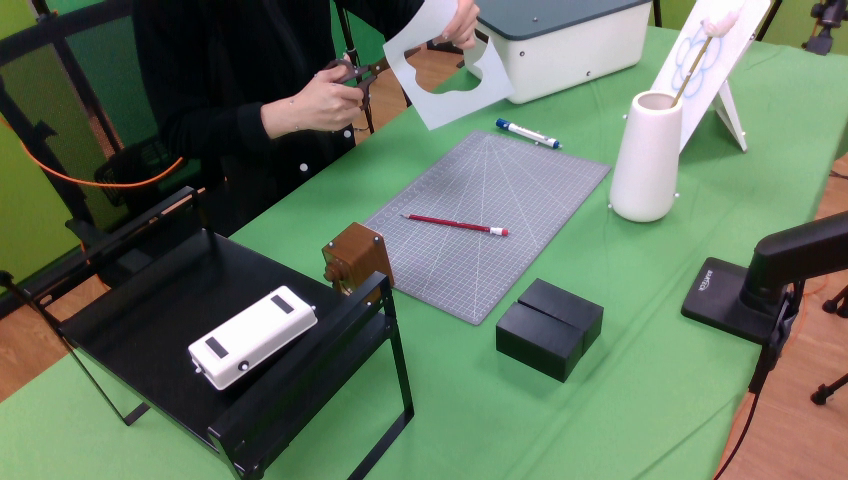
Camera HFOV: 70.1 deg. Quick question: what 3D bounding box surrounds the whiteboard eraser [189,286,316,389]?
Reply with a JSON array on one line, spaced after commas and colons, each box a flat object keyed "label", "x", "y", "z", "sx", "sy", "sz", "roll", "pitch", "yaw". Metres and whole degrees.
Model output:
[{"label": "whiteboard eraser", "x": -0.166, "y": 0.096, "z": 0.593, "sx": 0.113, "sy": 0.042, "sz": 0.055, "roll": -36, "pitch": 47, "yaw": -29}]

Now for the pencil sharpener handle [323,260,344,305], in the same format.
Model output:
[{"label": "pencil sharpener handle", "x": -0.131, "y": 0.062, "z": 0.839, "sx": 0.035, "sy": 0.068, "sz": 0.031, "roll": 29, "pitch": 55, "yaw": 28}]

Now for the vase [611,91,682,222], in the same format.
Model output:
[{"label": "vase", "x": 0.348, "y": -0.125, "z": 0.935, "sx": 0.098, "sy": 0.201, "sz": 0.097, "roll": -3, "pitch": 40, "yaw": 3}]

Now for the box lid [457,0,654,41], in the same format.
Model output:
[{"label": "box lid", "x": 0.285, "y": -0.522, "z": 1.323, "sx": 0.373, "sy": 0.015, "sz": 0.261, "roll": -22, "pitch": 43, "yaw": -16}]

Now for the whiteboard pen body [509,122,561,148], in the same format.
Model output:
[{"label": "whiteboard pen body", "x": 0.209, "y": -0.212, "z": 1.195, "sx": 0.139, "sy": 0.017, "sz": 0.017, "roll": 30, "pitch": 53, "yaw": 33}]

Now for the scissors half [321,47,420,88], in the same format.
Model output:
[{"label": "scissors half", "x": -0.084, "y": -0.266, "z": 0.913, "sx": 0.174, "sy": 0.040, "sz": 0.013, "roll": -7, "pitch": 32, "yaw": 25}]

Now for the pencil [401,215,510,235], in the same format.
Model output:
[{"label": "pencil", "x": 0.049, "y": -0.027, "z": 1.007, "sx": 0.193, "sy": 0.012, "sz": 0.012, "roll": 10, "pitch": 43, "yaw": 21}]

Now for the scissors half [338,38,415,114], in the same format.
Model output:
[{"label": "scissors half", "x": -0.072, "y": -0.248, "z": 0.920, "sx": 0.040, "sy": 0.174, "sz": 0.013, "roll": 45, "pitch": 36, "yaw": -9}]

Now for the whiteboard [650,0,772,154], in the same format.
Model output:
[{"label": "whiteboard", "x": 0.543, "y": -0.298, "z": 1.076, "sx": 0.144, "sy": 0.305, "sz": 0.216, "roll": 12, "pitch": 40, "yaw": -7}]

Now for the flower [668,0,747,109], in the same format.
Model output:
[{"label": "flower", "x": 0.354, "y": -0.187, "z": 0.879, "sx": 0.038, "sy": 0.362, "sz": 0.044, "roll": 30, "pitch": 48, "yaw": 14}]

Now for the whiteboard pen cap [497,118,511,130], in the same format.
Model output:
[{"label": "whiteboard pen cap", "x": 0.165, "y": -0.235, "z": 1.227, "sx": 0.033, "sy": 0.018, "sz": 0.018, "roll": 31, "pitch": 53, "yaw": 31}]

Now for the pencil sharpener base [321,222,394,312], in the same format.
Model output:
[{"label": "pencil sharpener base", "x": -0.096, "y": 0.041, "z": 0.873, "sx": 0.061, "sy": 0.107, "sz": 0.077, "roll": 25, "pitch": 54, "yaw": 32}]

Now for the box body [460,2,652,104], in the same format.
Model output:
[{"label": "box body", "x": 0.291, "y": -0.465, "z": 1.371, "sx": 0.365, "sy": 0.161, "sz": 0.252, "roll": -22, "pitch": 42, "yaw": -16}]
